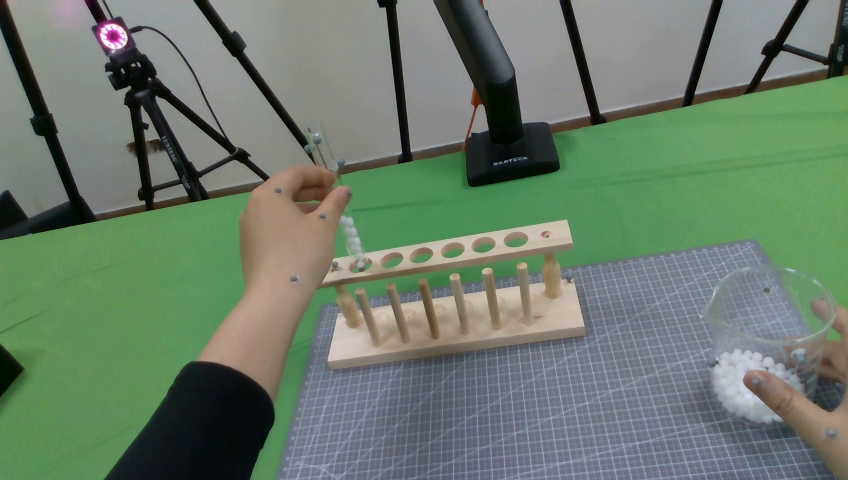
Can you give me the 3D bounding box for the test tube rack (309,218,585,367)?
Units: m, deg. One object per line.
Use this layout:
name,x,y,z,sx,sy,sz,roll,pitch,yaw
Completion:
test tube rack,0.020,0.052,0.565,0.242,0.086,0.066,-9,37,10

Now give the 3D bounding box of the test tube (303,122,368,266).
test tube,-0.072,-0.033,0.516,0.017,0.152,0.017,-8,41,7

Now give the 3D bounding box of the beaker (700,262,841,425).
beaker,0.242,0.077,0.433,0.084,0.101,0.073,-10,37,11
